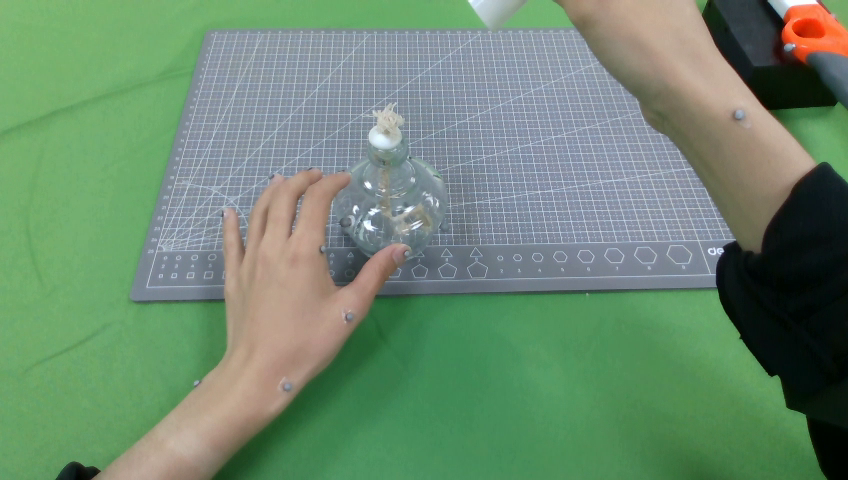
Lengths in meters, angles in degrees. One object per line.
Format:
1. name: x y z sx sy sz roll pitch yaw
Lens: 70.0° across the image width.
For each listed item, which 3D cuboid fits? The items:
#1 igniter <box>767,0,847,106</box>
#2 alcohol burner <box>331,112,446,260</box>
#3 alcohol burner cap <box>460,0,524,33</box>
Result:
1. igniter: 0.320 -0.188 0.510 0.057 0.025 0.273 -6 53 -2
2. alcohol burner: -0.024 -0.040 0.398 0.078 0.120 0.077 0 57 0
3. alcohol burner cap: 0.043 -0.138 0.321 0.048 0.034 0.033 -33 53 21
